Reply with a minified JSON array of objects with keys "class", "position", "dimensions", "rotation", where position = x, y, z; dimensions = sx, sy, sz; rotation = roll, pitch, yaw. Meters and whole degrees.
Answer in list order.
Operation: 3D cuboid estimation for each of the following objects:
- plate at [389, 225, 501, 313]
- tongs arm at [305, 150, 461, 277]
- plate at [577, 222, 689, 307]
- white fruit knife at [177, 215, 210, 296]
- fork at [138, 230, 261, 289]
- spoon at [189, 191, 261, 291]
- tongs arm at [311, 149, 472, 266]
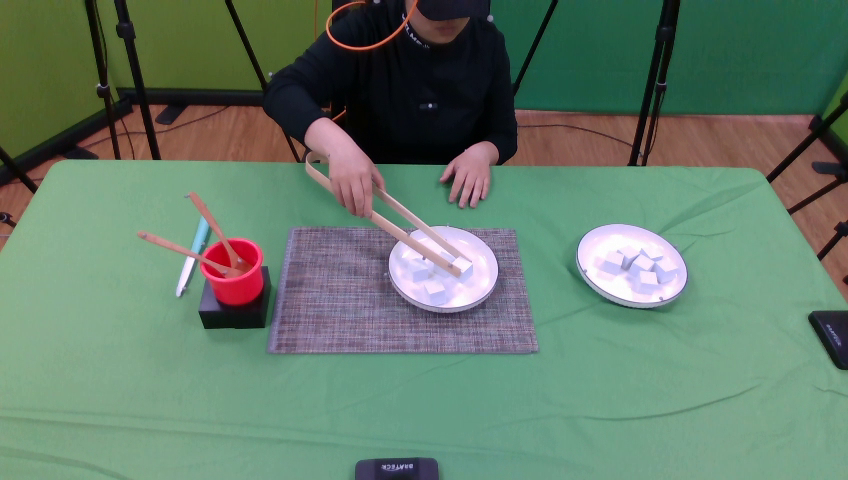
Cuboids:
[{"class":"plate","position":[0.038,0.057,1.129],"dimensions":[0.208,0.039,0.206],"rotation":[2,46,-2]},{"class":"tongs arm","position":[-0.081,-0.055,1.133],"dimensions":[0.384,0.026,0.050],"rotation":[33,51,14]},{"class":"plate","position":[0.396,0.050,1.165],"dimensions":[0.209,0.038,0.208],"rotation":[2,47,-2]},{"class":"white fruit knife","position":[-0.435,0.025,1.148],"dimensions":[0.027,0.016,0.206],"rotation":[-17,45,18]},{"class":"fork","position":[-0.359,0.032,0.981],"dimensions":[0.208,0.018,0.028],"rotation":[31,60,-30]},{"class":"spoon","position":[-0.333,0.001,1.012],"dimensions":[0.041,0.194,0.021],"rotation":[-34,15,-25]},{"class":"tongs arm","position":[-0.066,-0.067,1.148],"dimensions":[0.386,0.028,0.028],"rotation":[36,56,16]}]
